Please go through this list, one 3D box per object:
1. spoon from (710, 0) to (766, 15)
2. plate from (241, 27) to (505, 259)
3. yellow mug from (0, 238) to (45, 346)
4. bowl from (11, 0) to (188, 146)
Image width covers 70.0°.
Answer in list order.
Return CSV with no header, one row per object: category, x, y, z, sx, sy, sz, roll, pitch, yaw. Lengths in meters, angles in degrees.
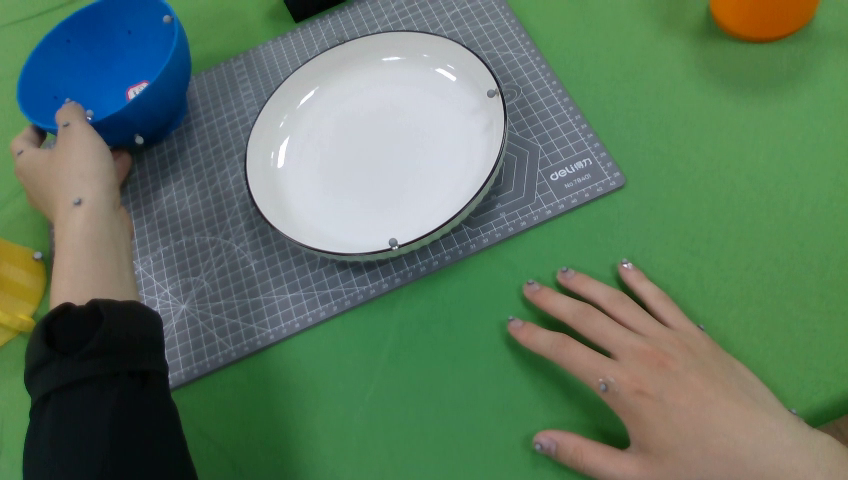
spoon,0.283,-0.230,0.411,0.022,0.194,0.041,2,59,-36
plate,-0.039,-0.076,0.473,0.209,0.038,0.207,-5,63,11
yellow mug,-0.361,0.041,0.481,0.130,0.064,0.099,23,71,21
bowl,-0.267,-0.137,0.536,0.151,0.077,0.150,-6,63,12
